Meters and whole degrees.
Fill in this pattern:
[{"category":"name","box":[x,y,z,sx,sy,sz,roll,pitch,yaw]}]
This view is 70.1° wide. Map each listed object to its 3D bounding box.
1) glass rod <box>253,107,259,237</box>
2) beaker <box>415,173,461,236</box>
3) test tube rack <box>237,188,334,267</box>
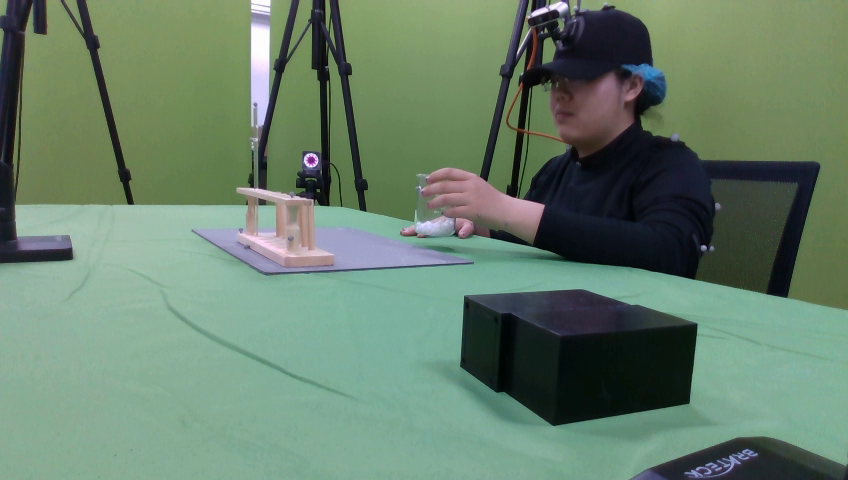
[{"category":"glass rod","box":[-0.253,-0.101,0.912,0.008,0.199,0.008,1,4,0]},{"category":"beaker","box":[0.024,-0.060,1.003,0.083,0.100,0.074,9,10,36]},{"category":"test tube rack","box":[-0.202,-0.024,0.855,0.067,0.085,0.241,-2,8,-30]}]
